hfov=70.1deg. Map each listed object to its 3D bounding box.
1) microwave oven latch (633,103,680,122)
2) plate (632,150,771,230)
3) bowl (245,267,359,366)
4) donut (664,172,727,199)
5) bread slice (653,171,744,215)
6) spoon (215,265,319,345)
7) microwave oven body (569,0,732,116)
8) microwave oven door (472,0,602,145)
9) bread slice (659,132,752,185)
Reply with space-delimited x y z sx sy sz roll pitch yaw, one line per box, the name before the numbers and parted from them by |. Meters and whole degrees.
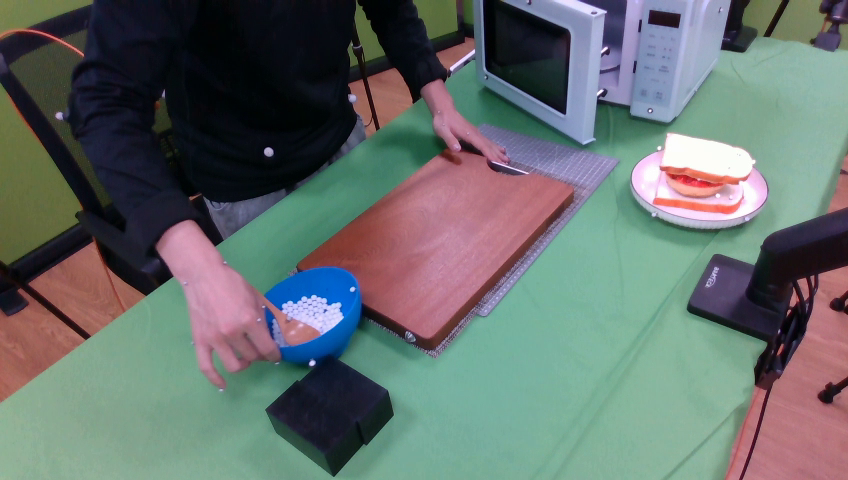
microwave oven latch | 0.444 -0.249 1.157 0.078 0.029 0.030 21 49 30
plate | 0.447 -0.081 0.988 0.207 0.039 0.206 -4 40 4
bowl | -0.149 0.113 0.801 0.151 0.077 0.150 -11 36 9
donut | 0.438 -0.105 0.972 0.099 0.048 0.098 -9 42 8
bread slice | 0.452 -0.084 0.992 0.131 0.019 0.105 11 45 21
spoon | -0.213 0.084 0.807 0.192 0.021 0.042 37 49 20
microwave oven body | 0.377 -0.462 1.267 0.438 0.261 0.327 21 48 30
microwave oven door | 0.206 -0.362 1.166 0.039 0.245 0.352 -25 44 -20
bread slice | 0.443 -0.126 0.951 0.134 0.018 0.107 14 43 14
